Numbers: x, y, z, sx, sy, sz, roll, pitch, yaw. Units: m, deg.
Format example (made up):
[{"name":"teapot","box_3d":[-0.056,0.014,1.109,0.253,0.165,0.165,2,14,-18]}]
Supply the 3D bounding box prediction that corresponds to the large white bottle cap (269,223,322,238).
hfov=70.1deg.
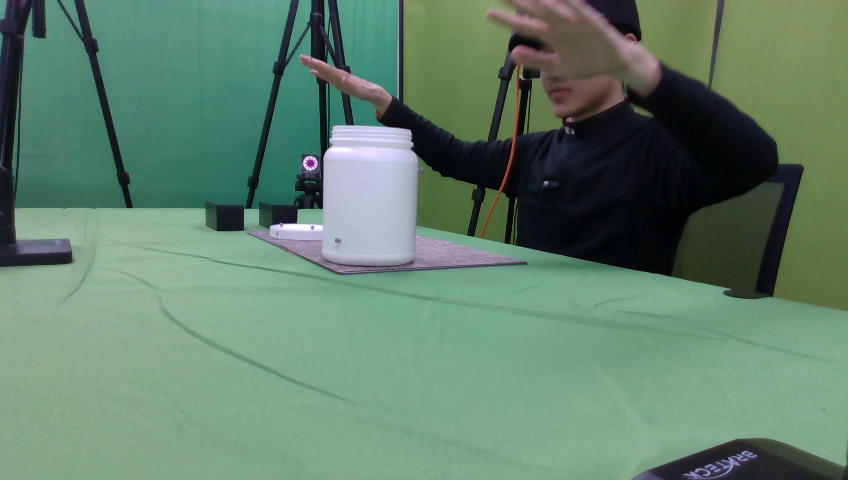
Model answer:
[{"name":"large white bottle cap","box_3d":[-0.218,-0.017,1.084,0.115,0.018,0.115,2,7,0]}]

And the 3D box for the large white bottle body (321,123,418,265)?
[{"name":"large white bottle body","box_3d":[-0.075,-0.064,0.836,0.131,0.184,0.130,2,8,0]}]
